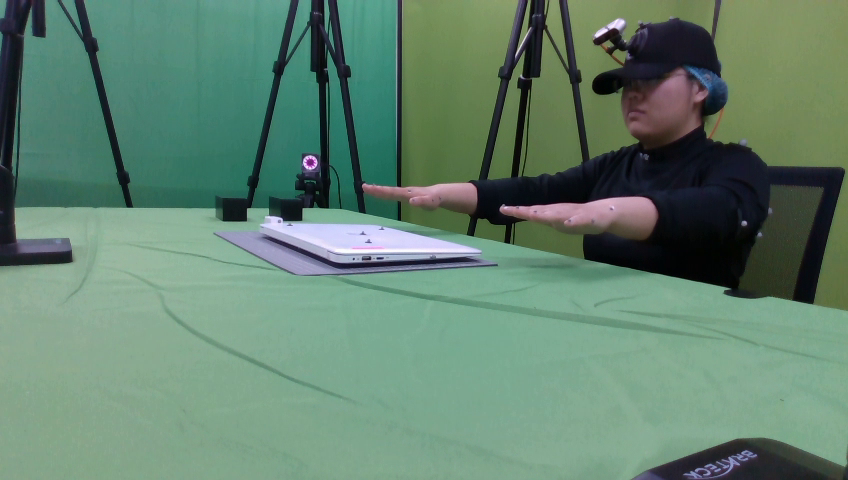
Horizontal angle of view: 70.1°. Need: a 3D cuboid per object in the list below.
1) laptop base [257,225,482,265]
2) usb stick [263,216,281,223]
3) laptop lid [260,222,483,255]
[{"bbox_3d":[-0.102,0.006,0.962,0.237,0.023,0.352,2,6,-32],"label":"laptop base"},{"bbox_3d":[-0.269,-0.028,1.081,0.021,0.027,0.059,-2,11,-30],"label":"usb stick"},{"bbox_3d":[-0.099,-0.005,0.962,0.243,0.013,0.355,1,7,-30],"label":"laptop lid"}]
